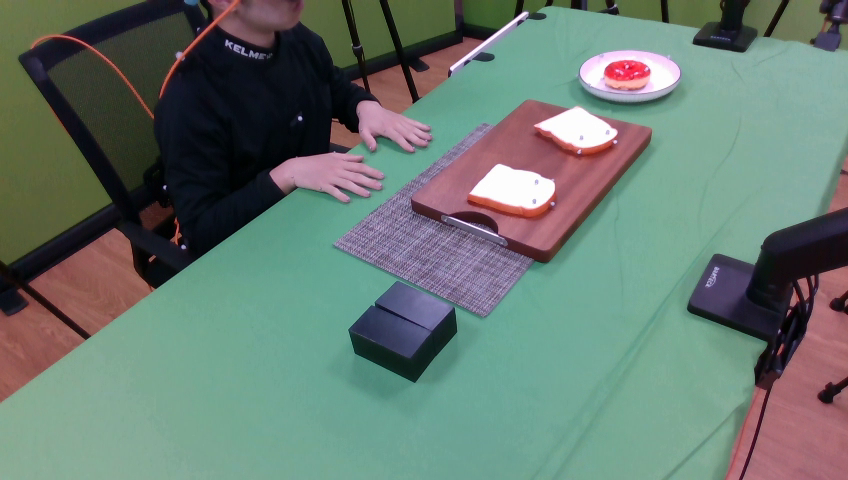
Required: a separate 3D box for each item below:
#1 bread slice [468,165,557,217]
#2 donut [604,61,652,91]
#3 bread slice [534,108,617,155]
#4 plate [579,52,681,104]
[{"bbox_3d":[0.154,-0.082,1.003,0.130,0.019,0.105,18,48,29],"label":"bread slice"},{"bbox_3d":[0.432,-0.349,1.285,0.099,0.048,0.098,-4,38,4],"label":"donut"},{"bbox_3d":[0.289,-0.200,1.121,0.107,0.018,0.133,-27,43,-22],"label":"bread slice"},{"bbox_3d":[0.437,-0.343,1.294,0.209,0.038,0.208,-4,40,4],"label":"plate"}]
